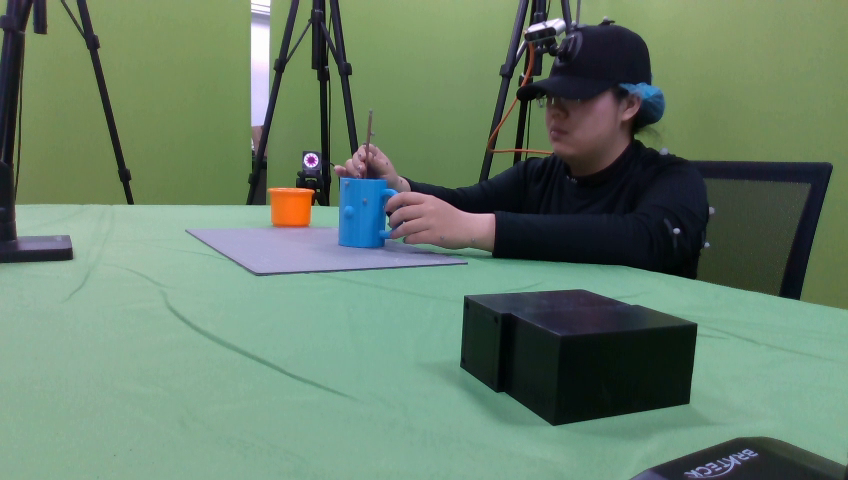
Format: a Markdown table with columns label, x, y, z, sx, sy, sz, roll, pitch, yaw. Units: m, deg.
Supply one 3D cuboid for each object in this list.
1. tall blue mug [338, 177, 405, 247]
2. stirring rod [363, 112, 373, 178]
| label | x | y | z | sx | sy | sz | roll | pitch | yaw |
| --- | --- | --- | --- | --- | --- | --- | --- | --- | --- |
| tall blue mug | -0.083 | -0.045 | 0.973 | 0.107 | 0.108 | 0.078 | 2 | 6 | 0 |
| stirring rod | -0.092 | -0.115 | 0.956 | 0.006 | 0.176 | 0.014 | 6 | -1 | -15 |
